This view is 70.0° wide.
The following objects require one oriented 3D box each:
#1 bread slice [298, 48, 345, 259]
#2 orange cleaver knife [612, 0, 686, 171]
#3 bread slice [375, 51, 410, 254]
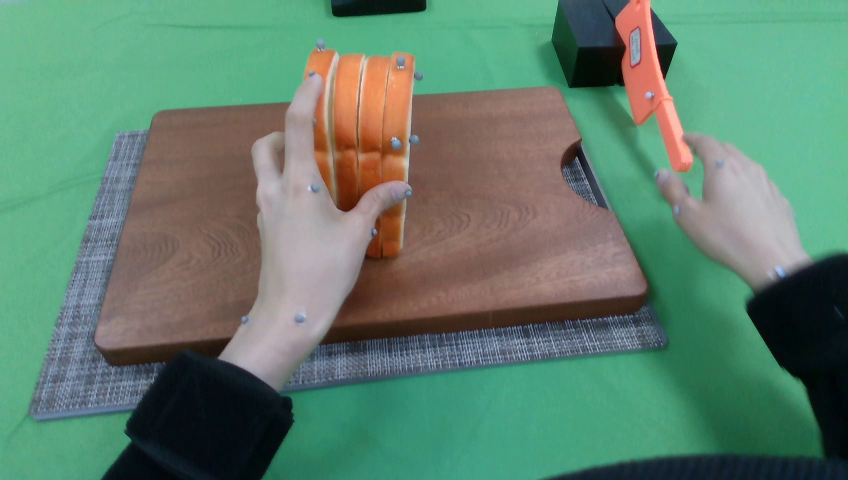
[{"bbox_3d":[-0.074,-0.071,0.452,0.018,0.135,0.106,0,43,-2],"label":"bread slice"},{"bbox_3d":[0.218,-0.153,0.602,0.012,0.077,0.209,-2,68,-7],"label":"orange cleaver knife"},{"bbox_3d":[-0.023,-0.069,0.451,0.019,0.132,0.104,4,48,-3],"label":"bread slice"}]
